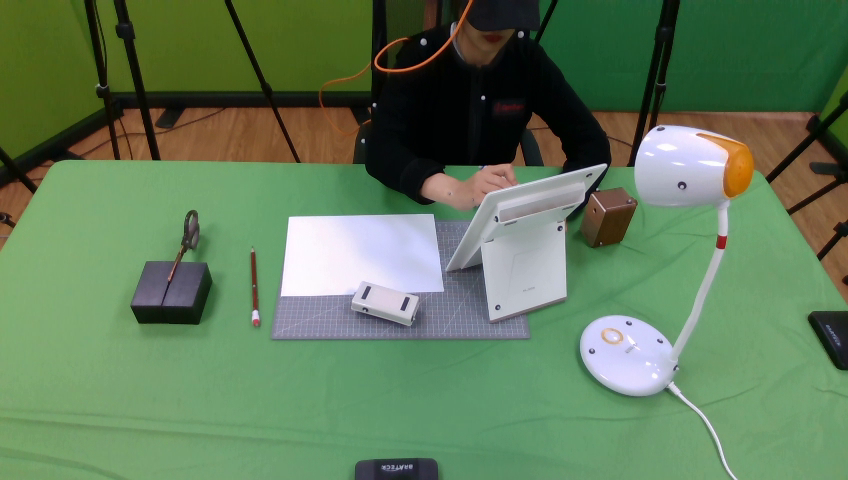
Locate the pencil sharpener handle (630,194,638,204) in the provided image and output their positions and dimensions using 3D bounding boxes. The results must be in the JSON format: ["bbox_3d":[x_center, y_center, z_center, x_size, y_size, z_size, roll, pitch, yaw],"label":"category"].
[{"bbox_3d":[0.417,-0.068,1.215,0.031,0.068,0.036,-11,60,-14],"label":"pencil sharpener handle"}]

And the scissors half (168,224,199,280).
[{"bbox_3d":[-0.441,0.023,1.111,0.013,0.040,0.174,8,29,-7],"label":"scissors half"}]

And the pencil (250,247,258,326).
[{"bbox_3d":[-0.312,0.079,1.107,0.012,0.012,0.192,-7,46,-11],"label":"pencil"}]

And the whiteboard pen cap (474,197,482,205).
[{"bbox_3d":[0.123,-0.079,1.287,0.033,0.018,0.018,26,50,22],"label":"whiteboard pen cap"}]

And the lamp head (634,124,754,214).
[{"bbox_3d":[0.351,-0.089,0.776,0.112,0.113,0.122,-30,30,-28],"label":"lamp head"}]

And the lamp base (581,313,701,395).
[{"bbox_3d":[0.361,0.144,0.973,0.178,0.181,0.160,34,53,23],"label":"lamp base"}]

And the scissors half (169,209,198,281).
[{"bbox_3d":[-0.438,0.007,1.099,0.013,0.040,0.174,4,48,-4],"label":"scissors half"}]

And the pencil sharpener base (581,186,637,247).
[{"bbox_3d":[0.369,-0.047,1.209,0.077,0.107,0.061,-11,47,-15],"label":"pencil sharpener base"}]

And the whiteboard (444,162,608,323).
[{"bbox_3d":[0.186,0.026,1.029,0.217,0.306,0.143,-14,68,-17],"label":"whiteboard"}]

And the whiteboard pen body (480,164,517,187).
[{"bbox_3d":[0.146,-0.098,1.046,0.017,0.017,0.140,-25,44,-25],"label":"whiteboard pen body"}]

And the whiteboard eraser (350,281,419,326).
[{"bbox_3d":[-0.069,0.113,1.065,0.112,0.042,0.055,14,46,9],"label":"whiteboard eraser"}]
